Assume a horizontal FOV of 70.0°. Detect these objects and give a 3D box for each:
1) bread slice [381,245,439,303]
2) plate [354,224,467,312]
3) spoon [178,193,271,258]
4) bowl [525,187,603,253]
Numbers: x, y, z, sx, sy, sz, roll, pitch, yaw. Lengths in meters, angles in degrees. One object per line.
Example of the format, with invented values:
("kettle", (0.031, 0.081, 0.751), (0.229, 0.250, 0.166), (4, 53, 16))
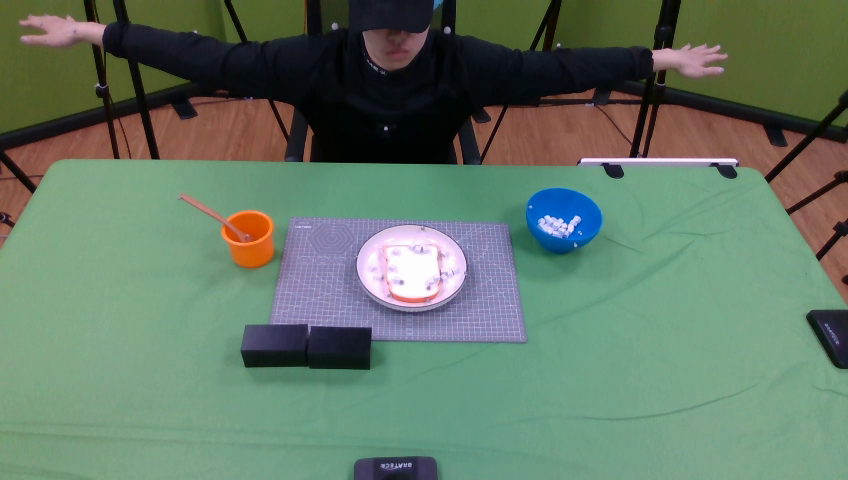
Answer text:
("bread slice", (-0.022, 0.061, 1.126), (0.107, 0.018, 0.133), (-3, 45, -8))
("plate", (-0.025, 0.055, 1.128), (0.209, 0.038, 0.208), (3, 46, -3))
("spoon", (-0.362, -0.028, 1.109), (0.195, 0.021, 0.041), (42, 35, -27))
("bowl", (0.271, -0.028, 1.206), (0.151, 0.077, 0.150), (2, 46, -2))
